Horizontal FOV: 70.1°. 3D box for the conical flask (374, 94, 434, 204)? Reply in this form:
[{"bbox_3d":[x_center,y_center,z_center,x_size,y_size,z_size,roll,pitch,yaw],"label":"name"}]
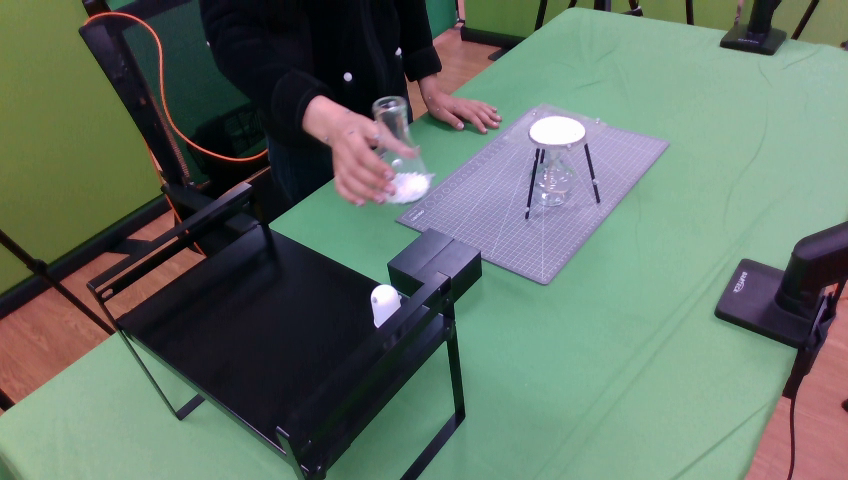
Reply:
[{"bbox_3d":[-0.030,-0.110,0.720,0.075,0.122,0.075,-4,36,4],"label":"conical flask"}]

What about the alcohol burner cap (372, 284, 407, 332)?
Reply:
[{"bbox_3d":[-0.036,0.066,0.608,0.034,0.048,0.033,-5,40,5],"label":"alcohol burner cap"}]

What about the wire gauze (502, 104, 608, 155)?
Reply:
[{"bbox_3d":[0.207,-0.173,0.953,0.120,0.011,0.125,24,48,31],"label":"wire gauze"}]

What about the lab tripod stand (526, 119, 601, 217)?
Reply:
[{"bbox_3d":[0.220,-0.122,0.995,0.148,0.132,0.147,-3,39,3],"label":"lab tripod stand"}]

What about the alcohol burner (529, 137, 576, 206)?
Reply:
[{"bbox_3d":[0.214,-0.117,1.005,0.078,0.119,0.077,-4,38,4],"label":"alcohol burner"}]
